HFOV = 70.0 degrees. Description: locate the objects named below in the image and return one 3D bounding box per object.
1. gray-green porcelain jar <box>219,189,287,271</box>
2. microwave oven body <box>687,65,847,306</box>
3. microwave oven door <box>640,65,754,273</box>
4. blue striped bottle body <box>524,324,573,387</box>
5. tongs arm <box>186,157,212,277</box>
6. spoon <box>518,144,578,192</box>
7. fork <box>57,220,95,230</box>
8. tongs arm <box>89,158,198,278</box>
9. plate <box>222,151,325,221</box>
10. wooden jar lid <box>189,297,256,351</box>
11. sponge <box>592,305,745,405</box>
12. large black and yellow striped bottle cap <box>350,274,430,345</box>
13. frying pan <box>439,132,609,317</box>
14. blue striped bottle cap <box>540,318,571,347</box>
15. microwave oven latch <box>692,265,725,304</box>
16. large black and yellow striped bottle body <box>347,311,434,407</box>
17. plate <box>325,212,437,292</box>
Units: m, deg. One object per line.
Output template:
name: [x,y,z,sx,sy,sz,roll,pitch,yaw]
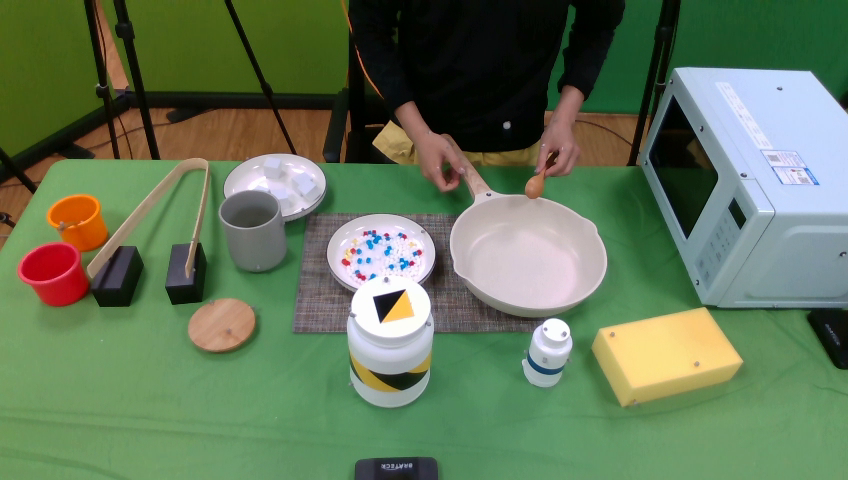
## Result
gray-green porcelain jar: [-0.309,-0.014,1.113,0.106,0.127,0.105,2,46,-2]
microwave oven body: [0.669,-0.111,1.176,0.326,0.261,0.439,0,46,-3]
microwave oven door: [0.523,-0.147,1.193,0.039,0.245,0.353,0,47,-3]
blue striped bottle body: [0.200,0.178,0.970,0.063,0.121,0.062,2,46,-2]
tongs arm: [-0.445,-0.058,1.168,0.051,0.026,0.382,-5,37,-6]
spoon: [0.254,-0.150,1.230,0.194,0.042,0.021,-31,43,-27]
fork: [-0.624,-0.027,1.086,0.028,0.207,0.018,-3,92,-17]
tongs arm: [-0.529,-0.057,1.164,0.028,0.028,0.385,1,36,8]
plate: [-0.310,-0.106,1.263,0.208,0.039,0.206,2,47,-2]
wooden jar lid: [-0.342,0.145,1.033,0.108,0.021,0.107,2,45,-2]
sponge: [0.405,0.190,1.014,0.207,0.061,0.117,-10,48,-12]
large black and yellow striped bottle cap: [-0.048,0.097,0.868,0.115,0.019,0.114,3,48,-3]
frying pan: [0.149,-0.049,1.189,0.307,0.103,0.484,-17,58,-20]
blue striped bottle cap: [0.203,0.142,0.933,0.044,0.021,0.044,3,49,-4]
microwave oven latch: [0.522,0.081,1.116,0.030,0.029,0.078,1,46,-2]
large black and yellow striped bottle body: [-0.052,0.157,0.929,0.131,0.185,0.130,2,47,-2]
plate: [-0.080,0.030,1.143,0.209,0.038,0.208,3,46,-2]
